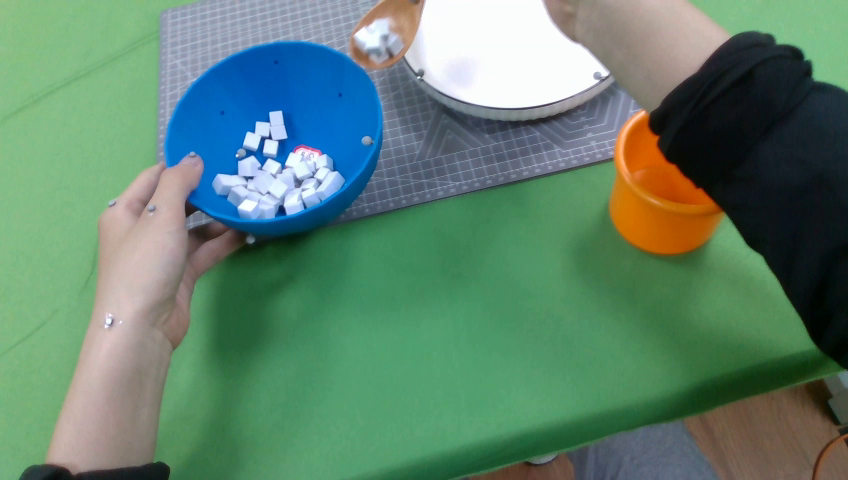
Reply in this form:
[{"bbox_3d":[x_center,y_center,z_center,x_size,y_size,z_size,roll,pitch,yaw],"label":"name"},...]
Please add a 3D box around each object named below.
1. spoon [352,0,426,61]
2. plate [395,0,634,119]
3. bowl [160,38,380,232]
[{"bbox_3d":[0.019,-0.198,0.394,0.041,0.022,0.194,43,106,14],"label":"spoon"},{"bbox_3d":[0.074,-0.185,0.532,0.209,0.038,0.207,-2,62,5],"label":"plate"},{"bbox_3d":[-0.101,-0.063,0.444,0.151,0.077,0.150,-2,65,5],"label":"bowl"}]
